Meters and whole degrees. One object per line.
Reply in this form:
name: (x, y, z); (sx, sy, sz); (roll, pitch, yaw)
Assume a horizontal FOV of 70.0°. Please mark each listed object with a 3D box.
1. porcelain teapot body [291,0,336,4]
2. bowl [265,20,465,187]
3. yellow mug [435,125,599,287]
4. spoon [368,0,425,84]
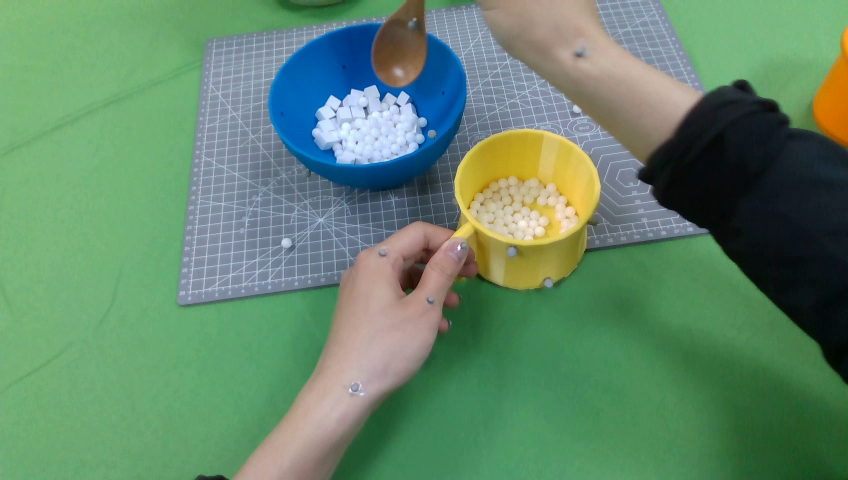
porcelain teapot body: (-0.150, -0.348, 0.563); (0.205, 0.227, 0.144); (-3, 59, 4)
bowl: (-0.041, -0.095, 0.484); (0.151, 0.077, 0.150); (-2, 58, 4)
yellow mug: (0.059, -0.016, 0.434); (0.131, 0.064, 0.099); (-37, 63, -16)
spoon: (0.002, -0.175, 0.386); (0.041, 0.194, 0.021); (30, 55, -2)
